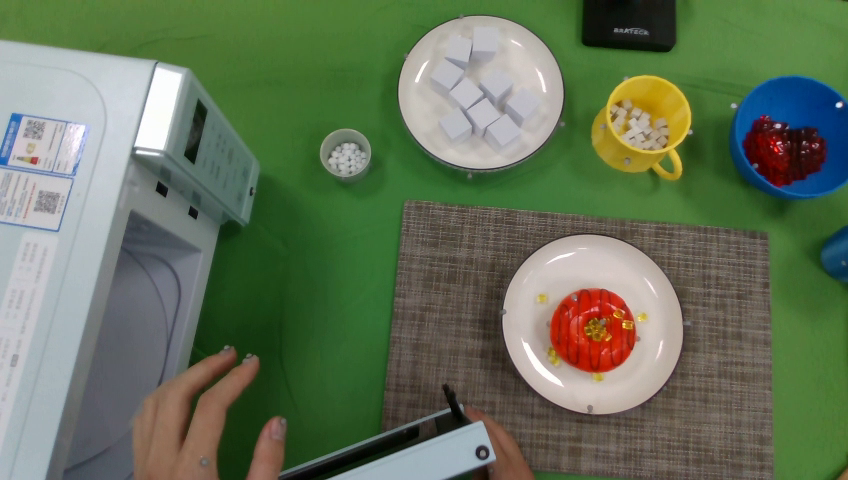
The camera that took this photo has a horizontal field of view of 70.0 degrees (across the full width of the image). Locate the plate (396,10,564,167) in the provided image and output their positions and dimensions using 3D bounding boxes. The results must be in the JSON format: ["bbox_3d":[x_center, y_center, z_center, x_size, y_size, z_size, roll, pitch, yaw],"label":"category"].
[{"bbox_3d":[0.070,-0.187,0.762,0.208,0.039,0.206,0,78,-1],"label":"plate"}]

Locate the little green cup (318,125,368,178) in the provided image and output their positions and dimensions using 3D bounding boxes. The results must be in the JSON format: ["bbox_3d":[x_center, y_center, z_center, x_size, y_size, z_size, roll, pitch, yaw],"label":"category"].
[{"bbox_3d":[-0.097,-0.105,0.741,0.061,0.039,0.061,0,80,-1],"label":"little green cup"}]

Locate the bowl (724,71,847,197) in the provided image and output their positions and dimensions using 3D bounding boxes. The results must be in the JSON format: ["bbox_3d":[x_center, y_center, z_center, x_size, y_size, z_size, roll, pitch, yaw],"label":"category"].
[{"bbox_3d":[0.427,-0.117,0.732,0.151,0.077,0.150,0,79,0],"label":"bowl"}]

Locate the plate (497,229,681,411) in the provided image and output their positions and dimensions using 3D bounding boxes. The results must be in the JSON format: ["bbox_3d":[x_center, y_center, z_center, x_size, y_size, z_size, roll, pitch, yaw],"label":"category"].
[{"bbox_3d":[0.187,0.091,0.702,0.209,0.038,0.208,0,79,-1],"label":"plate"}]

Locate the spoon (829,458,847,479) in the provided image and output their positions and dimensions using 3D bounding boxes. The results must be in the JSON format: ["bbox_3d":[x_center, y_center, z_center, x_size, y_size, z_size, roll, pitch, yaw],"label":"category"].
[{"bbox_3d":[0.422,0.307,0.673,0.193,0.022,0.041,-39,69,-8],"label":"spoon"}]

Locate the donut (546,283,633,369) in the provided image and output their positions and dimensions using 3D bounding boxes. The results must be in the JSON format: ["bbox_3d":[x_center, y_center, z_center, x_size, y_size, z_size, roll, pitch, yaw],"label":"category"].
[{"bbox_3d":[0.187,0.098,0.689,0.099,0.048,0.098,0,81,0],"label":"donut"}]

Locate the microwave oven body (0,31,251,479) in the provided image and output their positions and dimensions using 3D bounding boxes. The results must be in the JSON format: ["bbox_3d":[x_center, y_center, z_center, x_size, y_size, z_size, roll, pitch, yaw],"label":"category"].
[{"bbox_3d":[-0.391,0.057,0.587,0.326,0.261,0.440,8,79,1],"label":"microwave oven body"}]

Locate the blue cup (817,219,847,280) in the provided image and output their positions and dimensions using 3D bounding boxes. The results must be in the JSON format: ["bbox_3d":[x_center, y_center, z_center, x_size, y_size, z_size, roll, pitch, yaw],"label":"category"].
[{"bbox_3d":[0.511,0.007,0.695,0.093,0.100,0.092,0,76,-1],"label":"blue cup"}]

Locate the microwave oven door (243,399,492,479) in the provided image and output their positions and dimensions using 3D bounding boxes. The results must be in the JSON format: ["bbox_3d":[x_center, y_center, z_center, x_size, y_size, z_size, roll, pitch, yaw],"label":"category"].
[{"bbox_3d":[-0.119,0.227,0.552,0.356,0.245,0.039,-19,78,-5],"label":"microwave oven door"}]

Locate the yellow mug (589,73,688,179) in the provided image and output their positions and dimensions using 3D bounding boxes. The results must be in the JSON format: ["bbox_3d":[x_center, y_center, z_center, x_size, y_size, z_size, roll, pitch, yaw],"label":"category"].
[{"bbox_3d":[0.269,-0.131,0.739,0.100,0.064,0.130,-31,81,-6],"label":"yellow mug"}]

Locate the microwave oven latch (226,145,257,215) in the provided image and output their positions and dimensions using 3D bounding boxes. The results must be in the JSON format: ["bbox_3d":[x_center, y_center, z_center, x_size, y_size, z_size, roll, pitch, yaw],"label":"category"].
[{"bbox_3d":[-0.218,-0.072,0.715,0.030,0.029,0.079,10,79,1],"label":"microwave oven latch"}]
